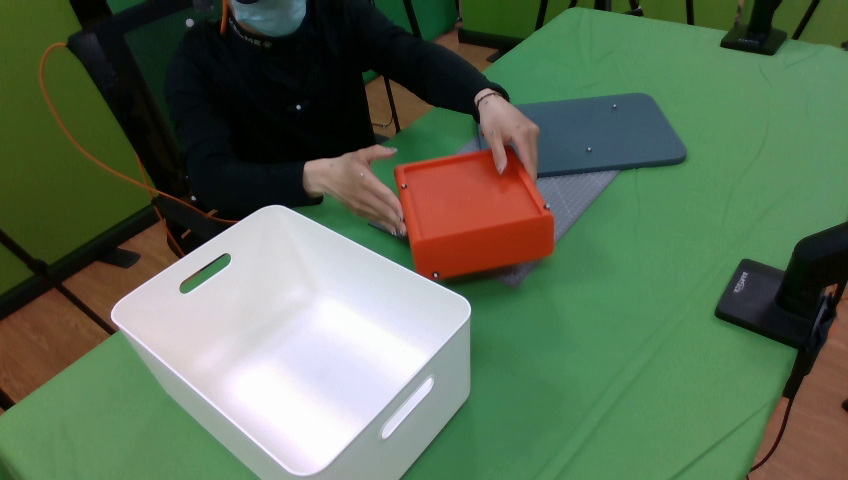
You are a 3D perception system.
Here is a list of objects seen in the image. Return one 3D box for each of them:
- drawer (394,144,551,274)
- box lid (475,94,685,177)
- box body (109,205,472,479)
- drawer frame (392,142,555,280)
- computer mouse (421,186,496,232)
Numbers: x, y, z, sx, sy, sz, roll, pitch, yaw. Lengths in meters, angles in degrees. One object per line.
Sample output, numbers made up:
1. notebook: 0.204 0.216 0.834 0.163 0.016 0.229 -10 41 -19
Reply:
1. drawer: 0.066 -0.052 0.910 0.195 0.073 0.210 -10 38 -5
2. box lid: 0.288 -0.207 1.181 0.371 0.015 0.262 -5 40 2
3. box body: -0.147 0.135 0.726 0.361 0.161 0.255 25 50 32
4. drawer frame: 0.067 -0.051 0.907 0.202 0.083 0.212 -11 38 -4
5. computer mouse: 0.052 -0.050 0.942 0.117 0.041 0.062 -10 44 6
